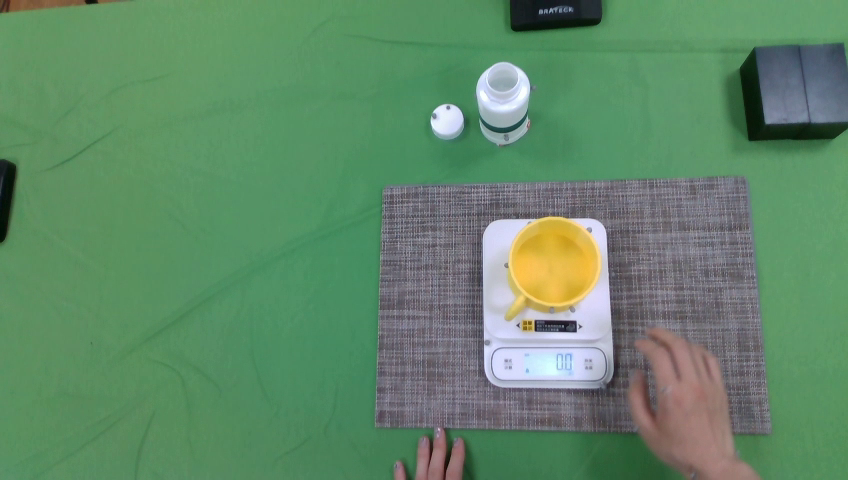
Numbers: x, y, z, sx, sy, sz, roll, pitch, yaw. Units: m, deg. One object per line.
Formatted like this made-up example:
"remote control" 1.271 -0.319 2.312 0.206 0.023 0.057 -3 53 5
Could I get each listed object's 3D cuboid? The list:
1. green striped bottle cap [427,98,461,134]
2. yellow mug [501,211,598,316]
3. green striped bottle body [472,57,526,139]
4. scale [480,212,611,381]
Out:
"green striped bottle cap" 0.026 -0.163 0.798 0.044 0.020 0.044 -1 84 6
"yellow mug" 0.130 0.035 0.680 0.099 0.064 0.131 39 85 13
"green striped bottle body" 0.091 -0.175 0.737 0.063 0.120 0.063 -2 76 7
"scale" 0.142 0.065 0.720 0.148 0.032 0.200 -1 78 7
